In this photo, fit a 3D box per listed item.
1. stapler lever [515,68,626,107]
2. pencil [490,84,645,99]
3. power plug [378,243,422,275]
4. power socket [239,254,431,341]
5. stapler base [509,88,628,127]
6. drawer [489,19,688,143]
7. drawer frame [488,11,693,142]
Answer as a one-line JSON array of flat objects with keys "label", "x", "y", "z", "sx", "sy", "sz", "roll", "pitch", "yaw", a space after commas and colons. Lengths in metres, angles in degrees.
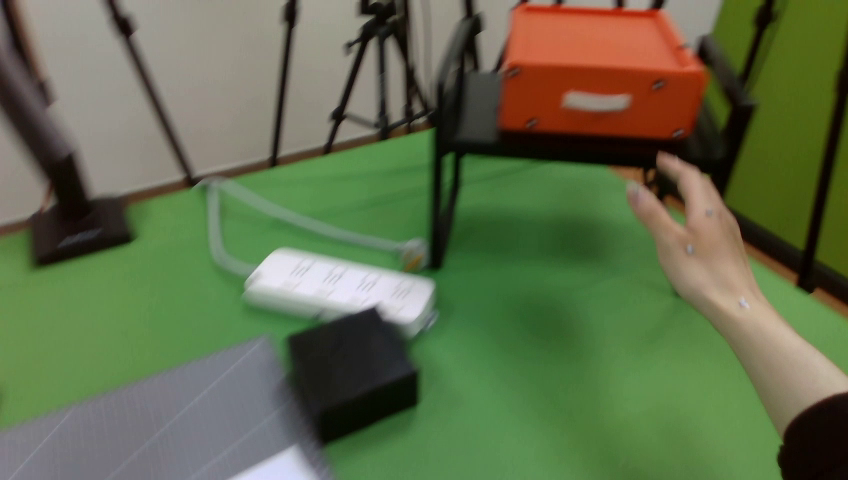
[{"label": "stapler lever", "x": 0.161, "y": -0.173, "z": 0.666, "sx": 0.117, "sy": 0.040, "sz": 0.026, "roll": 14, "pitch": 36, "yaw": 19}, {"label": "pencil", "x": 0.161, "y": -0.172, "z": 0.705, "sx": 0.192, "sy": 0.012, "sz": 0.012, "roll": 13, "pitch": 37, "yaw": 35}, {"label": "power plug", "x": -0.034, "y": 0.028, "z": 0.756, "sx": 0.072, "sy": 0.035, "sz": 0.052, "roll": -20, "pitch": 17, "yaw": 35}, {"label": "power socket", "x": -0.102, "y": 0.063, "z": 0.693, "sx": 0.226, "sy": 0.033, "sz": 0.072, "roll": 10, "pitch": 37, "yaw": 14}, {"label": "stapler base", "x": 0.163, "y": -0.153, "z": 0.680, "sx": 0.130, "sy": 0.024, "sz": 0.041, "roll": 13, "pitch": 35, "yaw": 19}, {"label": "drawer", "x": 0.178, "y": -0.194, "z": 0.703, "sx": 0.194, "sy": 0.074, "sz": 0.210, "roll": 4, "pitch": 35, "yaw": 6}, {"label": "drawer frame", "x": 0.177, "y": -0.197, "z": 0.705, "sx": 0.201, "sy": 0.083, "sz": 0.212, "roll": 3, "pitch": 35, "yaw": 4}]
